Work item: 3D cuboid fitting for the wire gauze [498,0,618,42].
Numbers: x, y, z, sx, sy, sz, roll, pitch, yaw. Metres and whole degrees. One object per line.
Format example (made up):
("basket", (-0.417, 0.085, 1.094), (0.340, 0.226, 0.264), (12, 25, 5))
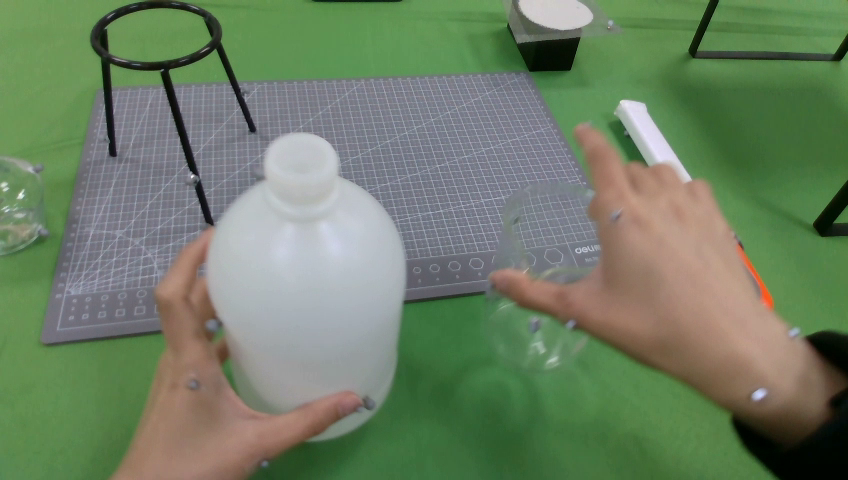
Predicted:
("wire gauze", (0.143, -0.261, 0.687), (0.122, 0.011, 0.123), (-4, 50, -13))

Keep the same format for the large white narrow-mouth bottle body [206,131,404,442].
("large white narrow-mouth bottle body", (-0.061, 0.026, 0.324), (0.102, 0.196, 0.101), (3, 50, -3))

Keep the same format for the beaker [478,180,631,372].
("beaker", (0.072, 0.027, 0.368), (0.073, 0.101, 0.084), (26, 45, 20))

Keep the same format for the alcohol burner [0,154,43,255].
("alcohol burner", (-0.322, -0.045, 0.430), (0.078, 0.120, 0.077), (5, 46, -4))

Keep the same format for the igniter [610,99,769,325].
("igniter", (0.234, -0.039, 0.553), (0.057, 0.025, 0.273), (3, 48, -18))

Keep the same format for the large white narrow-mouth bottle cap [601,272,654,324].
("large white narrow-mouth bottle cap", (0.159, 0.045, 0.474), (0.038, 0.024, 0.037), (3, 48, -3))

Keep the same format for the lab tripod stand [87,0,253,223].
("lab tripod stand", (-0.197, -0.106, 0.483), (0.148, 0.132, 0.147), (5, 48, -5))
